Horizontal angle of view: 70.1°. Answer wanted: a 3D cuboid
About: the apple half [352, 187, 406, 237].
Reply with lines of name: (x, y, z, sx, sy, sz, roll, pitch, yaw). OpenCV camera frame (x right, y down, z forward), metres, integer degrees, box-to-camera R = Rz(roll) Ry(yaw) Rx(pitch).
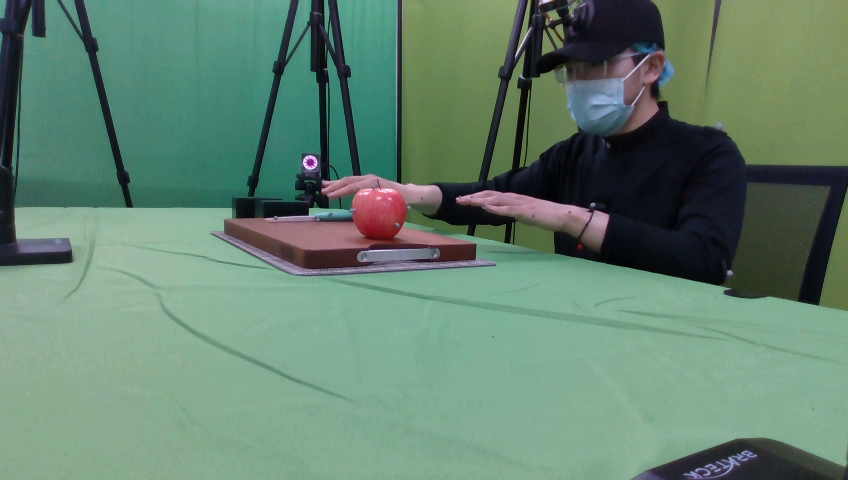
apple half: (-0.059, -0.039, 0.883, 0.081, 0.074, 0.053, 2, 10, -39)

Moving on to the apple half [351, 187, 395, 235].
apple half: (-0.083, -0.046, 0.913, 0.082, 0.081, 0.032, -3, 13, -38)

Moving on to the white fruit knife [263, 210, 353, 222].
white fruit knife: (-0.196, -0.042, 1.100, 0.208, 0.016, 0.027, -6, -19, -41)
